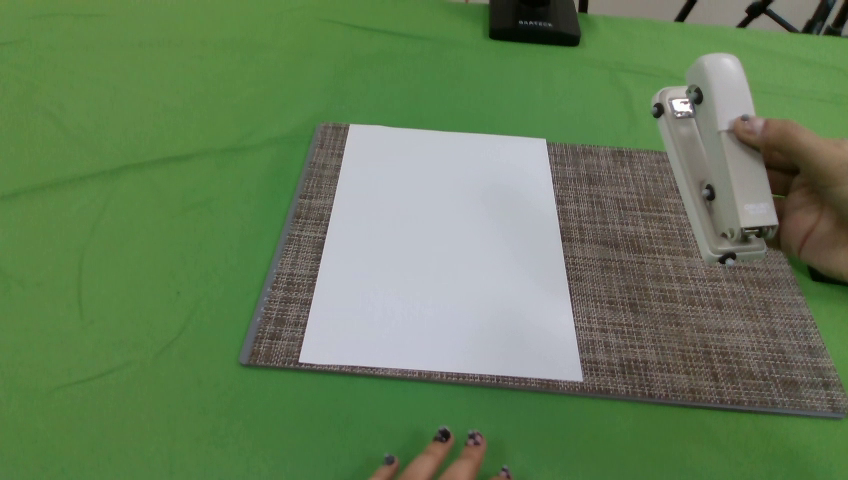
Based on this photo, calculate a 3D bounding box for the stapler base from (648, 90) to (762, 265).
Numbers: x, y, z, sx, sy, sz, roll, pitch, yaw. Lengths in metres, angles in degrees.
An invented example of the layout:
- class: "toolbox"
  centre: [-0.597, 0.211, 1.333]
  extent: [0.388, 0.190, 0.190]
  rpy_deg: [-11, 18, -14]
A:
- class: "stapler base"
  centre: [0.181, -0.048, 0.388]
  extent: [0.041, 0.024, 0.129]
  rpy_deg: [-6, 67, -4]

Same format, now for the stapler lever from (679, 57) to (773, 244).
- class: "stapler lever"
  centre: [0.182, -0.057, 0.365]
  extent: [0.027, 0.040, 0.117]
  rpy_deg: [-6, 66, -3]
